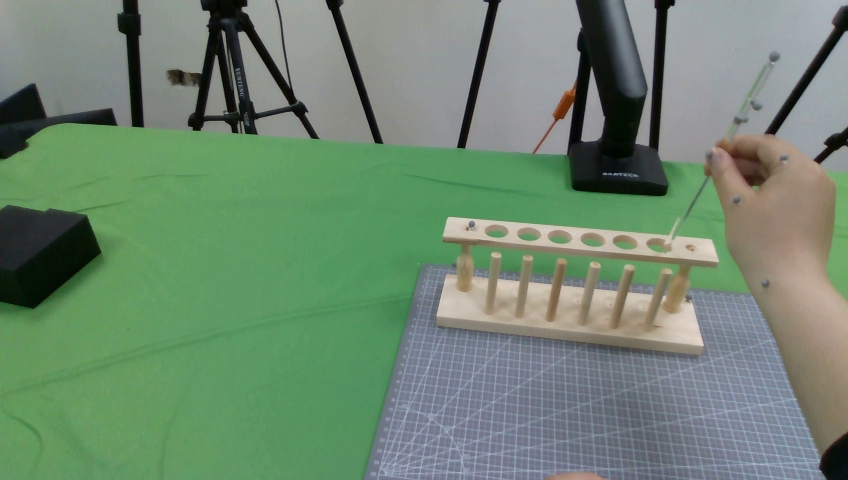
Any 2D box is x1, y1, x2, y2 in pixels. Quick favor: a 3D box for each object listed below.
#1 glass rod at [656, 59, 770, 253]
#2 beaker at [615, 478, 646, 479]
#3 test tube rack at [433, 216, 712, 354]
[{"bbox_3d":[0.219,-0.051,0.473,0.008,0.201,0.008,3,48,-3],"label":"glass rod"},{"bbox_3d":[0.109,0.195,0.337,0.084,0.101,0.073,-2,34,-9],"label":"beaker"},{"bbox_3d":[0.133,0.040,0.567,0.242,0.086,0.066,5,37,7],"label":"test tube rack"}]
